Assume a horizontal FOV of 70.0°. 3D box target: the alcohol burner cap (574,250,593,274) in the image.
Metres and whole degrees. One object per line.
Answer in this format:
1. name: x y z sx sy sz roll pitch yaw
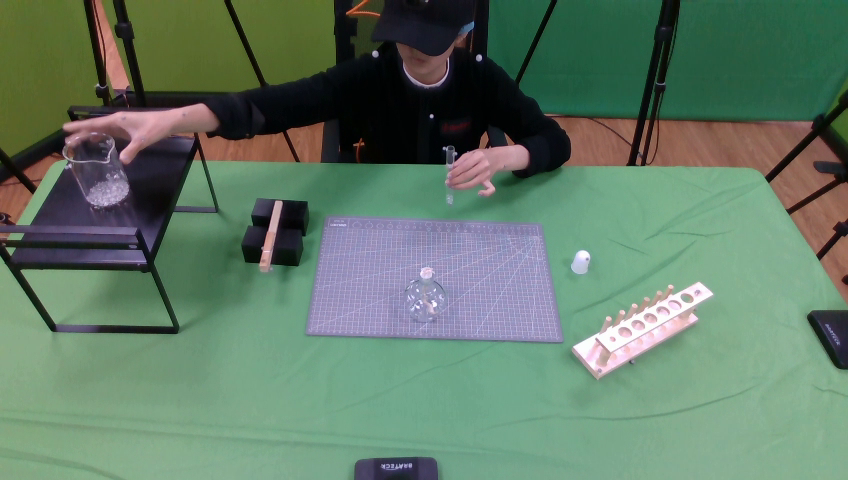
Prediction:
1. alcohol burner cap: 0.308 0.039 1.163 0.034 0.048 0.033 1 46 -1

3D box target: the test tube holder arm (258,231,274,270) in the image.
1. test tube holder arm: -0.282 0.018 1.087 0.015 0.010 0.087 -3 47 3

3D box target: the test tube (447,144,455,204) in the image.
1. test tube: 0.052 -0.123 1.166 0.017 0.151 0.017 -1 50 1

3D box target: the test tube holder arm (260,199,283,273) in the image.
1. test tube holder arm: -0.281 -0.012 1.121 0.015 0.013 0.177 -3 47 3

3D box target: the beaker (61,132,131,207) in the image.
1. beaker: -0.512 -0.107 0.959 0.083 0.101 0.074 29 51 22

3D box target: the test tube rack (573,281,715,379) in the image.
1. test tube rack: 0.378 0.140 1.038 0.242 0.085 0.066 -22 51 -23

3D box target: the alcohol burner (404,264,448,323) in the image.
1. alcohol burner: 0.003 0.087 1.042 0.078 0.120 0.077 1 45 0
